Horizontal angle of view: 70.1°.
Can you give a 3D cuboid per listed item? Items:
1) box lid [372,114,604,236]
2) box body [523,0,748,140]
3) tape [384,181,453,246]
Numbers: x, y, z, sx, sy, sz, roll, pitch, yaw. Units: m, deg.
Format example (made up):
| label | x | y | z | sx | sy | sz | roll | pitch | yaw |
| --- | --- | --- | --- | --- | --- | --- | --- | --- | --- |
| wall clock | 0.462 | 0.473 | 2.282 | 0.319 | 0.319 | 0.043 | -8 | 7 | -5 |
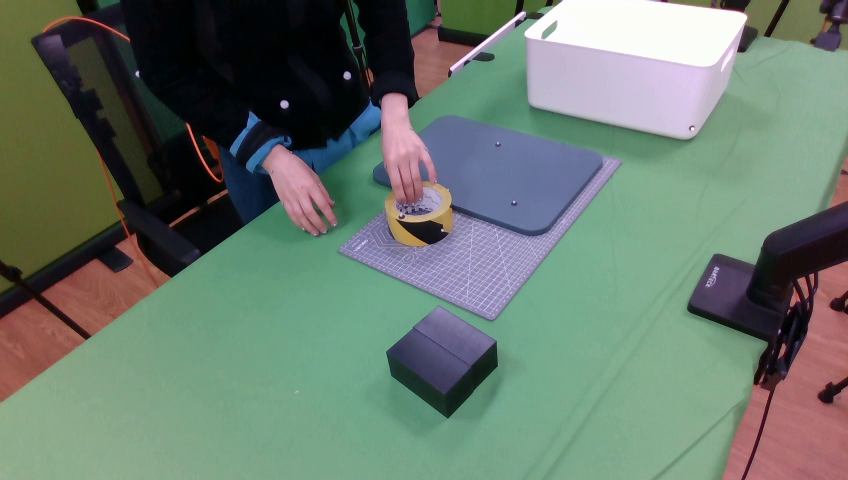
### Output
| label | x | y | z | sx | sy | sz | roll | pitch | yaw |
| --- | --- | --- | --- | --- | --- | --- | --- | --- | --- |
| box lid | 0.115 | -0.133 | 1.112 | 0.368 | 0.015 | 0.264 | 21 | 48 | 30 |
| box body | 0.412 | -0.354 | 1.212 | 0.361 | 0.161 | 0.254 | 20 | 48 | 29 |
| tape | -0.009 | -0.045 | 0.994 | 0.117 | 0.053 | 0.116 | -3 | 40 | 3 |
